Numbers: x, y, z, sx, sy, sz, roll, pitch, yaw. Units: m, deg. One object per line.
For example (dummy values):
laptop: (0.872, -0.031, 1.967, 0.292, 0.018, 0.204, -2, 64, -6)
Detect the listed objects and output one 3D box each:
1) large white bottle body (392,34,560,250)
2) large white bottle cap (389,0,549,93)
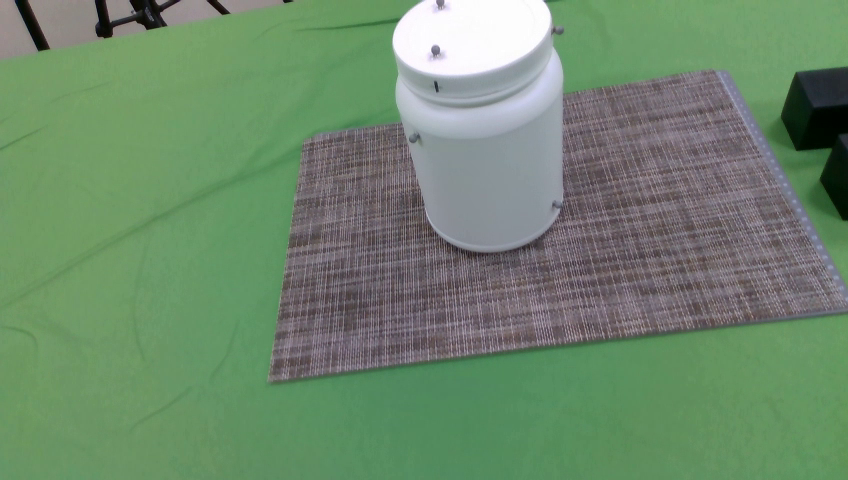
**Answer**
large white bottle body: (0.047, -0.094, 0.501, 0.130, 0.186, 0.129, -6, 51, 8)
large white bottle cap: (0.032, -0.148, 0.437, 0.115, 0.018, 0.113, -6, 51, 7)
